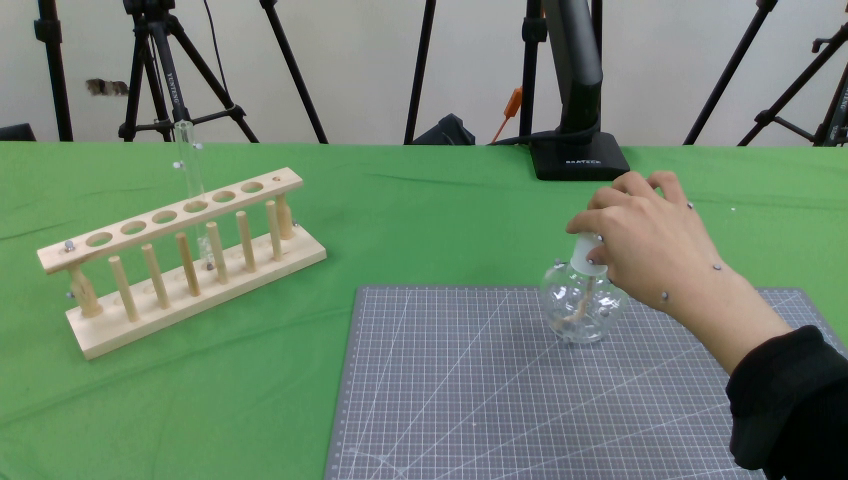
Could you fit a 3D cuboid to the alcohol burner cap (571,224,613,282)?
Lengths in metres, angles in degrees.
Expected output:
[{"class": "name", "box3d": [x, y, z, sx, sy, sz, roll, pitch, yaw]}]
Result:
[{"class": "alcohol burner cap", "box3d": [0.145, 0.008, 0.515, 0.034, 0.048, 0.033, 1, 35, -1]}]

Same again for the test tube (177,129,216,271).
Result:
[{"class": "test tube", "box3d": [-0.218, -0.034, 0.584, 0.017, 0.151, 0.017, 2, 31, -1]}]

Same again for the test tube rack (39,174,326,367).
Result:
[{"class": "test tube rack", "box3d": [-0.221, 0.021, 0.593, 0.243, 0.086, 0.066, -24, 42, -30]}]

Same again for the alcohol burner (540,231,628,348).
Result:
[{"class": "alcohol burner", "box3d": [0.144, 0.038, 0.536, 0.078, 0.120, 0.077, 1, 37, 0]}]
